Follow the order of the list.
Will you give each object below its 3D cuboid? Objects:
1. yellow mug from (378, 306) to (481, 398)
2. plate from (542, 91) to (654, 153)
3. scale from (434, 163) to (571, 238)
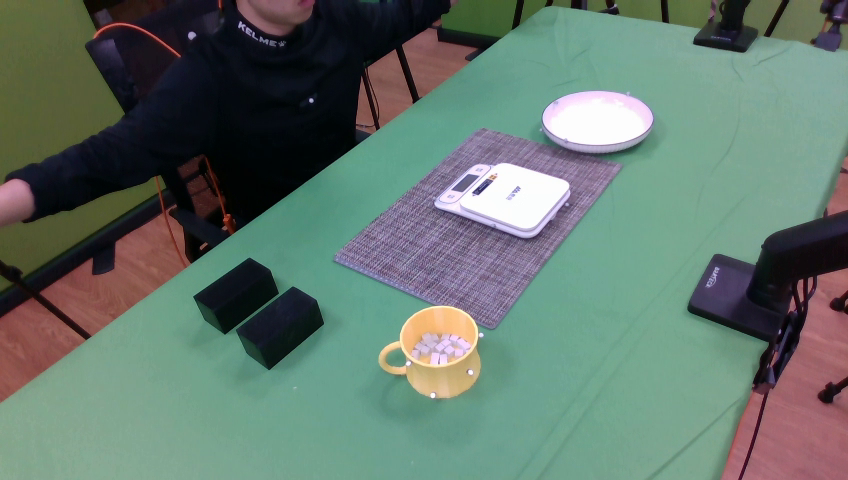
[{"bbox_3d":[0.006,0.144,0.766,0.131,0.064,0.099,-10,40,-2],"label":"yellow mug"},{"bbox_3d":[0.334,-0.224,1.171,0.209,0.038,0.208,-4,40,4],"label":"plate"},{"bbox_3d":[0.132,-0.075,1.025,0.199,0.032,0.149,22,48,30],"label":"scale"}]
